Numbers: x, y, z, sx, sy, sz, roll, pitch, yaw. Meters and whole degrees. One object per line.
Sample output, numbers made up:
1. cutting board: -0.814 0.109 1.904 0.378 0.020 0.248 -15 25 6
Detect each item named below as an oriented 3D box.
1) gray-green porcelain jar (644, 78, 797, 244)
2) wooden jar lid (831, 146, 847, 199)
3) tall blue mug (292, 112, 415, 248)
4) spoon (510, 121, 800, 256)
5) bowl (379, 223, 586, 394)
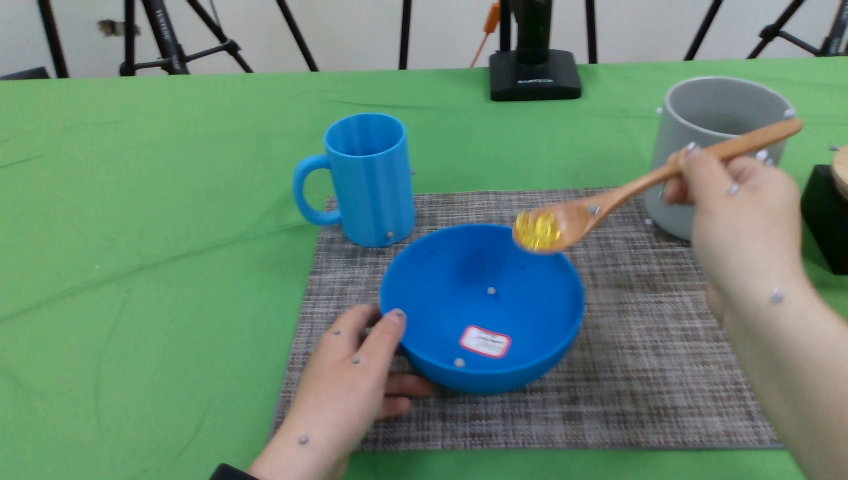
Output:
1. gray-green porcelain jar: 0.265 -0.068 0.560 0.106 0.128 0.105 -2 42 3
2. wooden jar lid: 0.422 -0.051 0.538 0.108 0.021 0.107 -3 42 3
3. tall blue mug: -0.062 -0.050 0.580 0.107 0.109 0.077 -33 50 -28
4. spoon: 0.149 -0.035 0.402 0.193 0.022 0.041 -25 42 17
5. bowl: 0.044 0.064 0.468 0.151 0.077 0.150 -2 42 2
